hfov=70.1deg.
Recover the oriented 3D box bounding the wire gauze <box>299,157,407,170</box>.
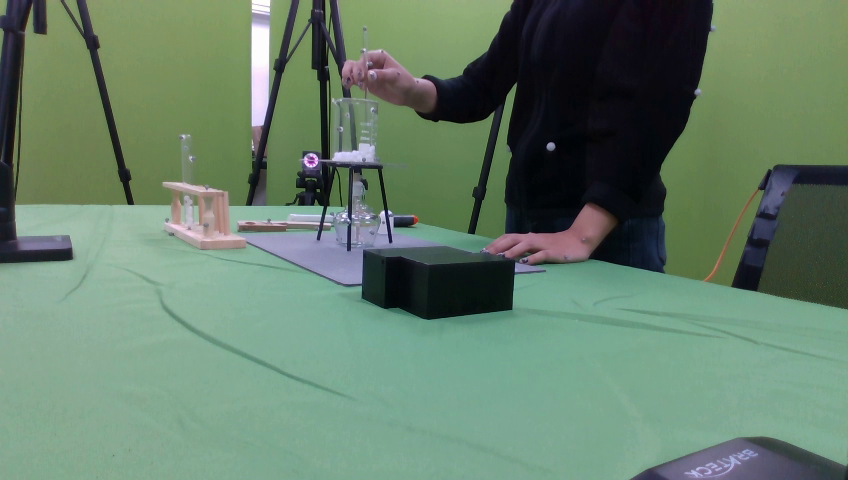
[{"bbox_3d":[-0.112,-0.124,0.959,0.121,0.011,0.126,13,11,40],"label":"wire gauze"}]

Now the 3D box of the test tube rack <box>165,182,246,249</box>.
[{"bbox_3d":[-0.360,-0.044,0.982,0.067,0.085,0.241,-3,9,-34],"label":"test tube rack"}]

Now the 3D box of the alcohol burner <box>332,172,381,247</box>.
[{"bbox_3d":[-0.107,-0.048,0.961,0.078,0.119,0.078,1,9,0],"label":"alcohol burner"}]

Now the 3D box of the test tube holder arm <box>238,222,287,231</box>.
[{"bbox_3d":[-0.297,-0.024,1.113,0.088,0.015,0.010,-1,42,-32],"label":"test tube holder arm"}]

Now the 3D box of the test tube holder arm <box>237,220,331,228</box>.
[{"bbox_3d":[-0.261,-0.029,1.141,0.179,0.015,0.013,-2,42,-33],"label":"test tube holder arm"}]

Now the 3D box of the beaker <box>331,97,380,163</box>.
[{"bbox_3d":[-0.111,-0.171,0.950,0.073,0.100,0.084,12,12,42],"label":"beaker"}]

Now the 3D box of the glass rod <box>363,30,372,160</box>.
[{"bbox_3d":[-0.089,-0.226,0.952,0.008,0.199,0.008,-1,13,1],"label":"glass rod"}]

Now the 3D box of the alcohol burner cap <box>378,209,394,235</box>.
[{"bbox_3d":[-0.072,-0.035,1.145,0.034,0.048,0.034,2,7,0],"label":"alcohol burner cap"}]

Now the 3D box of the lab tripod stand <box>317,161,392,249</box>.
[{"bbox_3d":[-0.111,-0.059,0.964,0.148,0.131,0.148,4,8,0],"label":"lab tripod stand"}]

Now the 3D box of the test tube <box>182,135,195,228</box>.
[{"bbox_3d":[-0.382,-0.095,0.983,0.017,0.150,0.017,-1,2,0],"label":"test tube"}]

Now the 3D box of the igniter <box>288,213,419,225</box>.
[{"bbox_3d":[-0.145,-0.044,1.278,0.278,0.025,0.057,-1,-2,-21],"label":"igniter"}]
